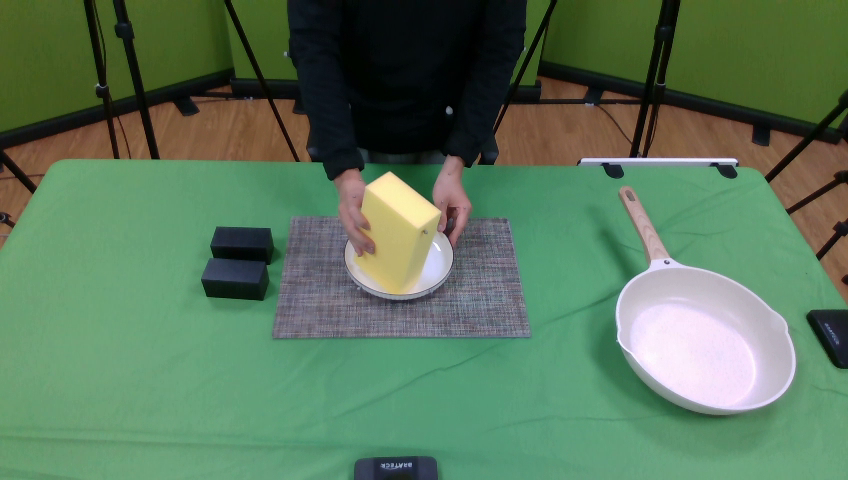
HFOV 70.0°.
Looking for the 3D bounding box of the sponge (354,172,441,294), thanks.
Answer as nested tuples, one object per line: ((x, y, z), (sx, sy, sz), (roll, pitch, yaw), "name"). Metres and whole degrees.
((-0.052, -0.002, 1.046), (0.118, 0.207, 0.061), (39, 54, 17), "sponge")

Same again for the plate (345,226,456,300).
((-0.045, 0.035, 1.146), (0.208, 0.039, 0.206), (2, 46, -2), "plate")

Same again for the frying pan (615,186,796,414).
((0.449, 0.087, 1.092), (0.307, 0.103, 0.484), (-4, 55, -10), "frying pan")
